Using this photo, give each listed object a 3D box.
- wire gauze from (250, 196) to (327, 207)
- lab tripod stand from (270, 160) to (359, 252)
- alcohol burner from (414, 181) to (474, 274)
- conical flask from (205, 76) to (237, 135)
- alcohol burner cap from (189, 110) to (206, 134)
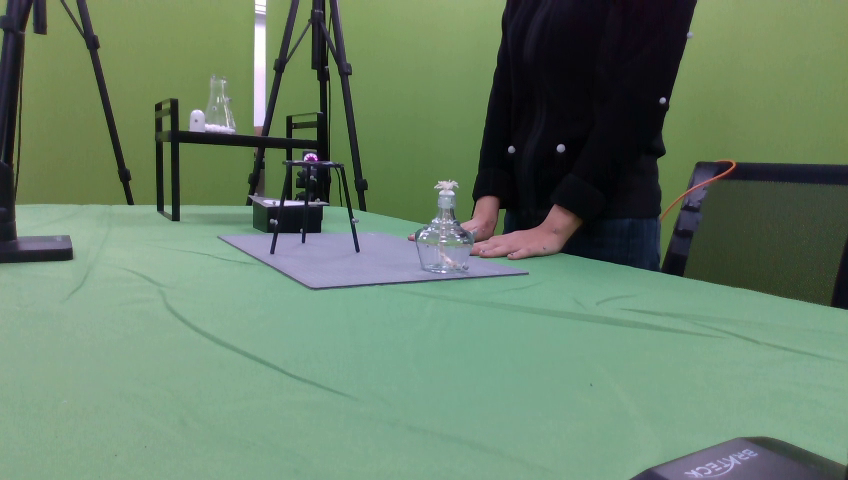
[{"bbox_3d":[-0.259,-0.073,1.150,0.122,0.011,0.124,0,8,-32],"label":"wire gauze"},{"bbox_3d":[-0.166,-0.051,0.892,0.148,0.131,0.148,3,9,0],"label":"lab tripod stand"},{"bbox_3d":[0.027,-0.017,0.773,0.078,0.119,0.078,4,6,0],"label":"alcohol burner"},{"bbox_3d":[-0.443,-0.290,1.309,0.075,0.122,0.075,3,7,0],"label":"conical flask"},{"bbox_3d":[-0.464,-0.242,1.240,0.034,0.048,0.034,4,7,0],"label":"alcohol burner cap"}]
